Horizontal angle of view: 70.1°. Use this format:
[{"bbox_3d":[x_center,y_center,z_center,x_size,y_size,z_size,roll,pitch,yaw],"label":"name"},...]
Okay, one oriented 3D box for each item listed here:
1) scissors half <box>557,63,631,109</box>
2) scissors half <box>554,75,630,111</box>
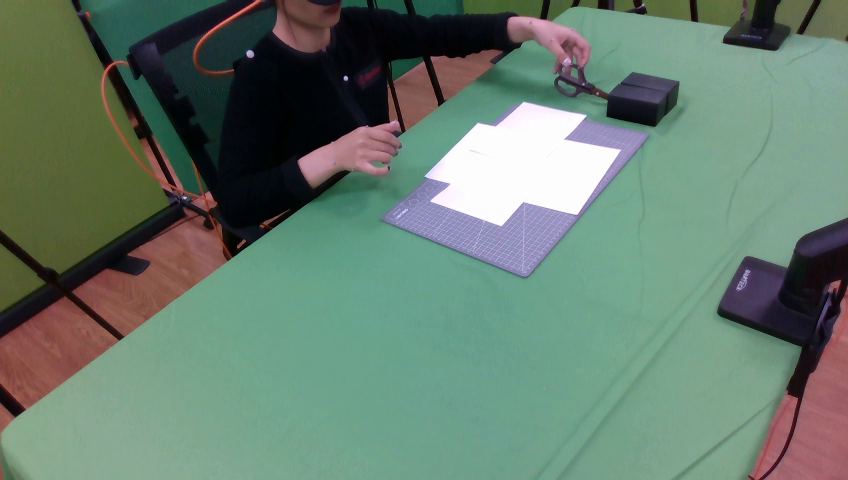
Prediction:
[{"bbox_3d":[0.353,-0.319,1.255,0.174,0.040,0.013,36,57,14],"label":"scissors half"},{"bbox_3d":[0.351,-0.305,1.269,0.174,0.040,0.013,29,49,24],"label":"scissors half"}]
